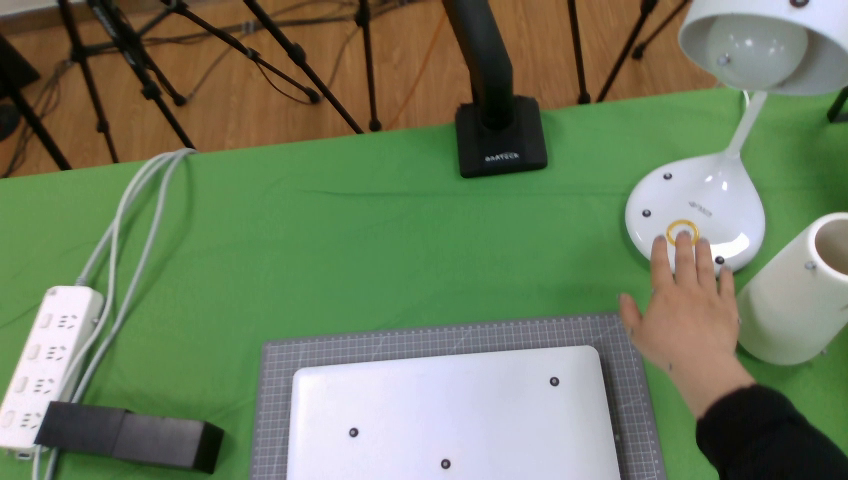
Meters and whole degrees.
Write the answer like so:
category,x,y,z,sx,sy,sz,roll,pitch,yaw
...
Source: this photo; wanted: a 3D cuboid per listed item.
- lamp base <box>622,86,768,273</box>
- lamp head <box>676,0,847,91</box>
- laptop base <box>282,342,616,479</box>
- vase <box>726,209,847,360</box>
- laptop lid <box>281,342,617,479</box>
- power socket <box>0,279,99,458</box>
category,x,y,z,sx,sy,sz,roll,pitch,yaw
lamp base,0.320,-0.078,0.674,0.159,0.182,0.178,26,67,20
lamp head,0.241,-0.171,0.394,0.112,0.113,0.123,23,86,19
laptop base,0.021,0.236,0.649,0.354,0.023,0.233,-6,66,6
vase,0.368,0.046,0.592,0.098,0.202,0.097,-4,61,8
laptop lid,0.019,0.233,0.638,0.356,0.013,0.239,-4,65,7
power socket,-0.477,0.153,0.759,0.072,0.033,0.225,2,63,8
